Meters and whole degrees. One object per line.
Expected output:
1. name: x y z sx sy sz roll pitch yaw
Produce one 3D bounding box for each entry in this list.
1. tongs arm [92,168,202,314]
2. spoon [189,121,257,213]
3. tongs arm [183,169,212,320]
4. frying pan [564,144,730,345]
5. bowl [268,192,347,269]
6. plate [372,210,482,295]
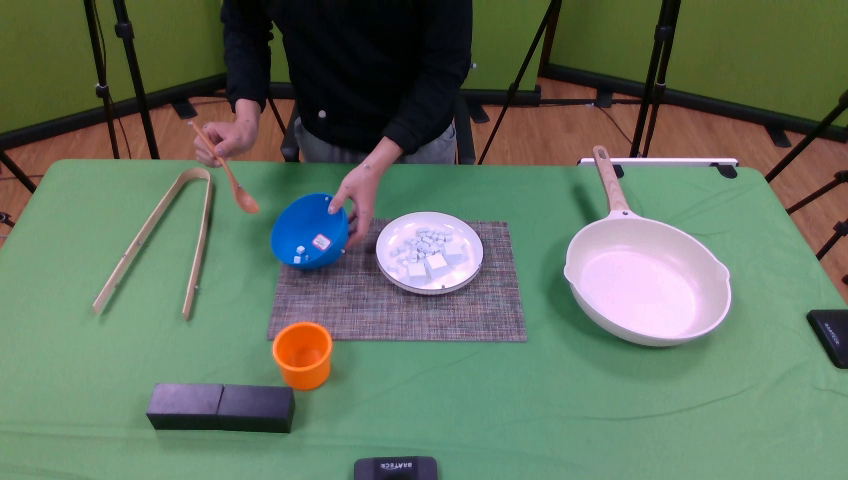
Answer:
1. tongs arm: -0.518 -0.013 1.160 0.051 0.026 0.382 7 45 1
2. spoon: -0.363 -0.131 1.095 0.021 0.194 0.041 -20 19 23
3. tongs arm: -0.436 -0.006 1.166 0.028 0.028 0.385 -5 47 -6
4. frying pan: 0.396 -0.008 1.179 0.307 0.103 0.484 0 55 -5
5. bowl: -0.200 -0.004 1.113 0.151 0.077 0.150 -11 57 18
6. plate: 0.005 0.028 1.155 0.208 0.039 0.206 2 46 -2
